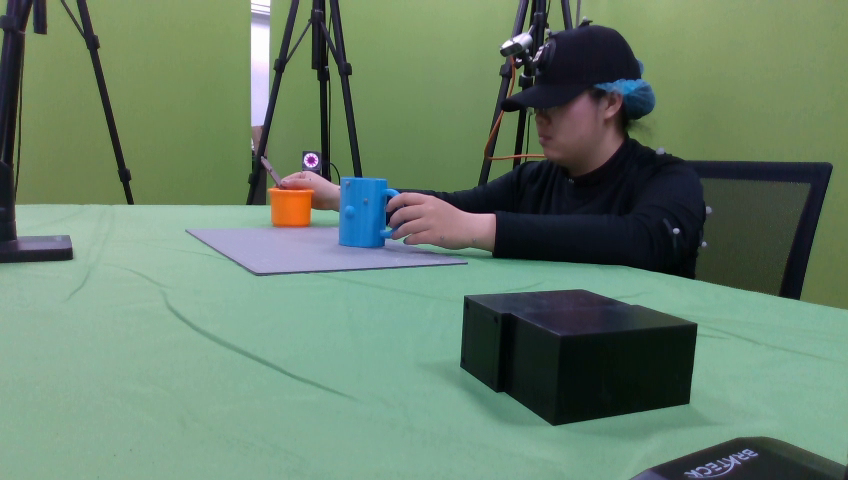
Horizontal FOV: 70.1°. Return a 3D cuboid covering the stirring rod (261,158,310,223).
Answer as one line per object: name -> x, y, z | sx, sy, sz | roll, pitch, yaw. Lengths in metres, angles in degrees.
stirring rod -> -0.284, -0.102, 1.237 | 0.014, 0.006, 0.175 | -18, 64, -48

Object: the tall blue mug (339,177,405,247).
tall blue mug -> -0.083, -0.046, 0.977 | 0.107, 0.108, 0.078 | 2, 6, -1
